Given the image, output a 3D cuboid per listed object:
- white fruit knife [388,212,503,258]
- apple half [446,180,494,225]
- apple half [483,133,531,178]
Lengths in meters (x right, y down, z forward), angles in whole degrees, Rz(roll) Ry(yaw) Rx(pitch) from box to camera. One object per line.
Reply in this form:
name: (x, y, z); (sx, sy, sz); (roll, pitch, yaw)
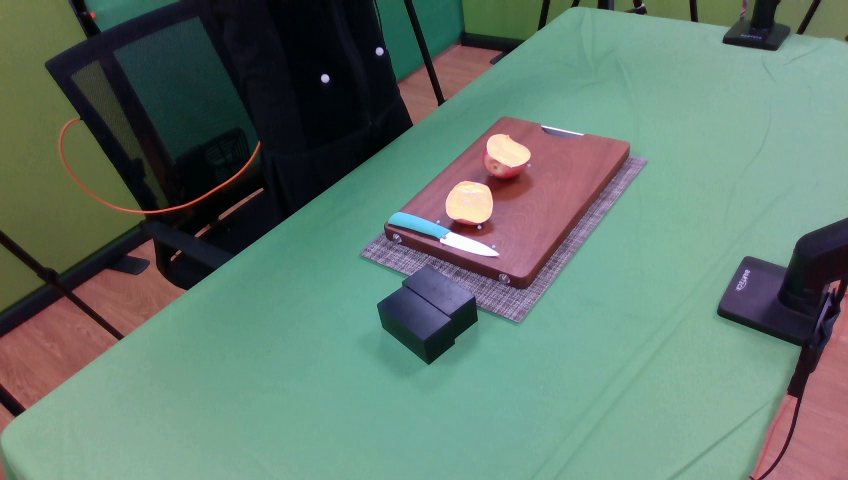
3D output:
white fruit knife: (0.032, -0.008, 0.950); (0.206, 0.016, 0.027); (20, 77, 28)
apple half: (0.076, -0.056, 0.976); (0.081, 0.033, 0.081); (-3, 66, 6)
apple half: (0.138, -0.139, 1.050); (0.080, 0.053, 0.075); (30, 47, 8)
